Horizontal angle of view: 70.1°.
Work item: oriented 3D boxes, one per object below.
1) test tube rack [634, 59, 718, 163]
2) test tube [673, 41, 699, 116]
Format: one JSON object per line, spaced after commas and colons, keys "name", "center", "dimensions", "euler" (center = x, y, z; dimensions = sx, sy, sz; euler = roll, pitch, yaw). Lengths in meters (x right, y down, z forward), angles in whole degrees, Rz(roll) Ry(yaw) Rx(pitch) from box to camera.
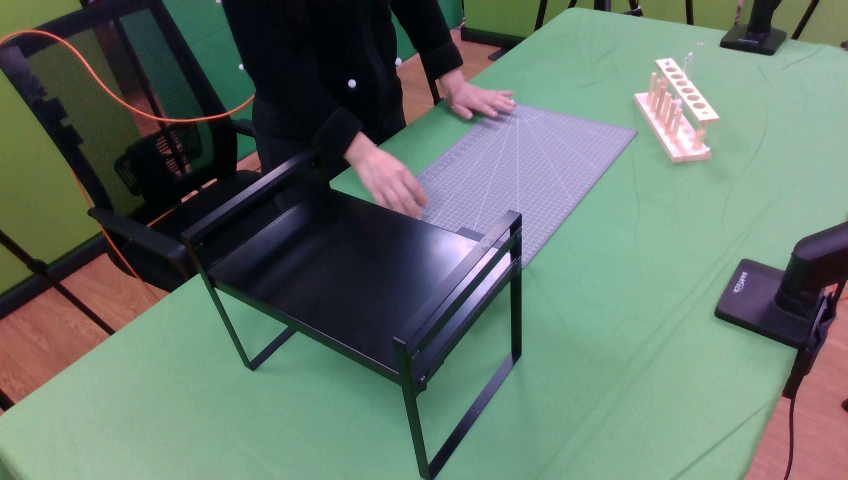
{"name": "test tube rack", "center": [0.470, -0.250, 1.148], "dimensions": [0.067, 0.085, 0.241], "euler": [-6, 40, 3]}
{"name": "test tube", "center": [0.483, -0.296, 1.124], "dimensions": [0.017, 0.151, 0.017], "euler": [-1, 44, 2]}
